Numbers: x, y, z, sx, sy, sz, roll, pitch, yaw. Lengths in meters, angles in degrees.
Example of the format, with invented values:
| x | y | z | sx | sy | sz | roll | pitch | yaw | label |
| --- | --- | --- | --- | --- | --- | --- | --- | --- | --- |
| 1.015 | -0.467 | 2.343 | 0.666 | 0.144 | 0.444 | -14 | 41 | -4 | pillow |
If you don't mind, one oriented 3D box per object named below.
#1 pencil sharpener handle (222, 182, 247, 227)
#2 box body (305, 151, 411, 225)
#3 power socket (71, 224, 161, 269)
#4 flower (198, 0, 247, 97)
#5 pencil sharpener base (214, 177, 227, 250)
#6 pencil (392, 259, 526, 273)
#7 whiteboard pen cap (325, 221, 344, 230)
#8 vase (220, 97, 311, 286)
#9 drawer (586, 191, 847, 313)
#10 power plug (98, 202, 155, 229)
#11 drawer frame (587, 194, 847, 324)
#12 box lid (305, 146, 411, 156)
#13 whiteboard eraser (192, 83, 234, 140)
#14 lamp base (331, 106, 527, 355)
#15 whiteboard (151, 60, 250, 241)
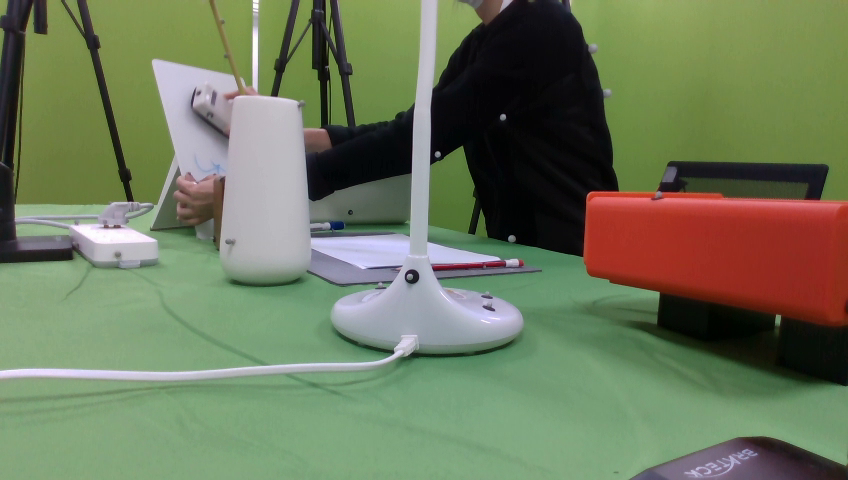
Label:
| x | y | z | sx | sy | sz | roll | pitch | yaw | label |
| --- | --- | --- | --- | --- | --- | --- | --- | --- | --- |
| -0.290 | -0.055 | 0.912 | 0.036 | 0.067 | 0.030 | -1 | 8 | -29 | pencil sharpener handle |
| -0.230 | -0.126 | 1.371 | 0.366 | 0.160 | 0.253 | -2 | 9 | -33 | box body |
| -0.408 | 0.004 | 0.793 | 0.072 | 0.032 | 0.225 | -2 | 8 | -38 | power socket |
| -0.187 | -0.133 | 0.648 | 0.038 | 0.362 | 0.044 | -1 | 22 | 43 | flower |
| -0.265 | -0.036 | 0.870 | 0.061 | 0.107 | 0.076 | -2 | 8 | -29 | pencil sharpener base |
| 0.049 | 0.035 | 0.782 | 0.195 | 0.012 | 0.012 | -2 | 9 | -25 | pencil |
| -0.166 | -0.027 | 1.124 | 0.018 | 0.018 | 0.033 | 9 | 11 | 41 | whiteboard pen cap |
| -0.172 | -0.052 | 0.662 | 0.098 | 0.200 | 0.098 | 3 | 8 | 0 | vase |
| 0.282 | 0.001 | 0.513 | 0.195 | 0.073 | 0.210 | -1 | 8 | -29 | drawer |
| -0.416 | -0.026 | 0.848 | 0.073 | 0.052 | 0.035 | 0 | 8 | -28 | power plug |
| 0.285 | 0.004 | 0.508 | 0.203 | 0.082 | 0.212 | -1 | 6 | -29 | drawer frame |
| -0.229 | -0.200 | 1.361 | 0.373 | 0.015 | 0.262 | -3 | 9 | -33 | box lid |
| -0.351 | -0.216 | 1.052 | 0.042 | 0.055 | 0.113 | -22 | -37 | 20 | whiteboard eraser |
| 0.006 | -0.012 | 0.478 | 0.161 | 0.180 | 0.179 | 2 | 10 | 2 | lamp base |
| -0.408 | -0.139 | 1.094 | 0.143 | 0.305 | 0.218 | -15 | -1 | 26 | whiteboard |
